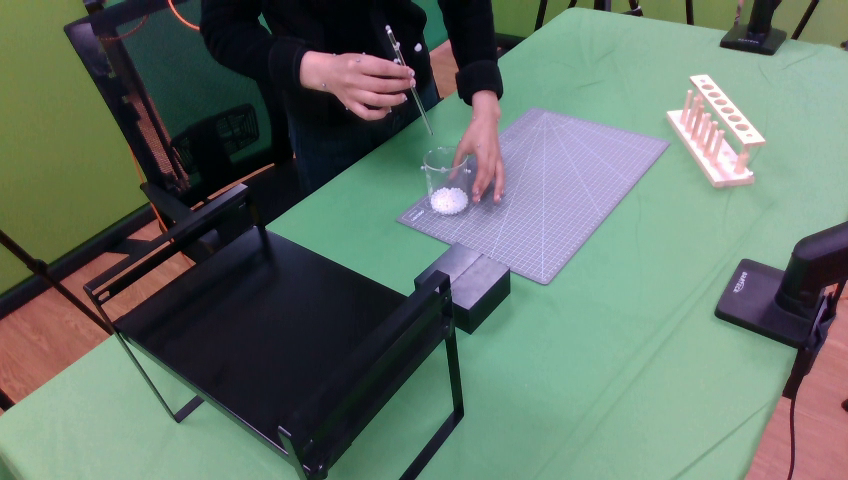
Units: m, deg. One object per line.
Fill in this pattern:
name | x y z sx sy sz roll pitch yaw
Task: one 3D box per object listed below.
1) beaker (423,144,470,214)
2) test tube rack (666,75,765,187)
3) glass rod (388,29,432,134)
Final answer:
beaker | 0.040 -0.102 1.023 0.074 0.101 0.083 -3 40 5
test tube rack | 0.512 -0.201 1.082 0.067 0.085 0.241 -6 41 2
glass rod | -0.018 -0.230 0.900 0.008 0.201 0.008 -10 53 13
